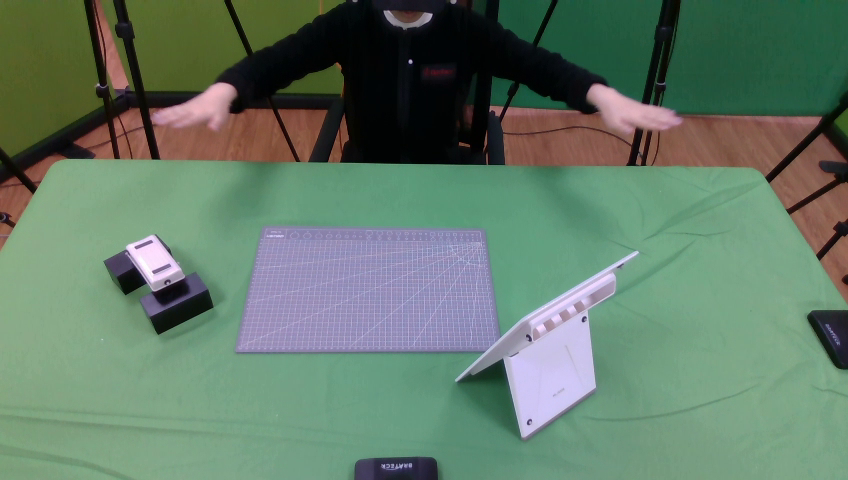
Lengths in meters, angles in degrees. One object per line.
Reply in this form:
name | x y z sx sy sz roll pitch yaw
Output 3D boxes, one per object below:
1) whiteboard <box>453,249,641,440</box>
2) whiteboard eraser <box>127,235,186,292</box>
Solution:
whiteboard | 0.206 0.174 0.890 0.217 0.306 0.143 -24 72 -25
whiteboard eraser | -0.460 0.041 1.042 0.055 0.042 0.112 -31 55 -28
